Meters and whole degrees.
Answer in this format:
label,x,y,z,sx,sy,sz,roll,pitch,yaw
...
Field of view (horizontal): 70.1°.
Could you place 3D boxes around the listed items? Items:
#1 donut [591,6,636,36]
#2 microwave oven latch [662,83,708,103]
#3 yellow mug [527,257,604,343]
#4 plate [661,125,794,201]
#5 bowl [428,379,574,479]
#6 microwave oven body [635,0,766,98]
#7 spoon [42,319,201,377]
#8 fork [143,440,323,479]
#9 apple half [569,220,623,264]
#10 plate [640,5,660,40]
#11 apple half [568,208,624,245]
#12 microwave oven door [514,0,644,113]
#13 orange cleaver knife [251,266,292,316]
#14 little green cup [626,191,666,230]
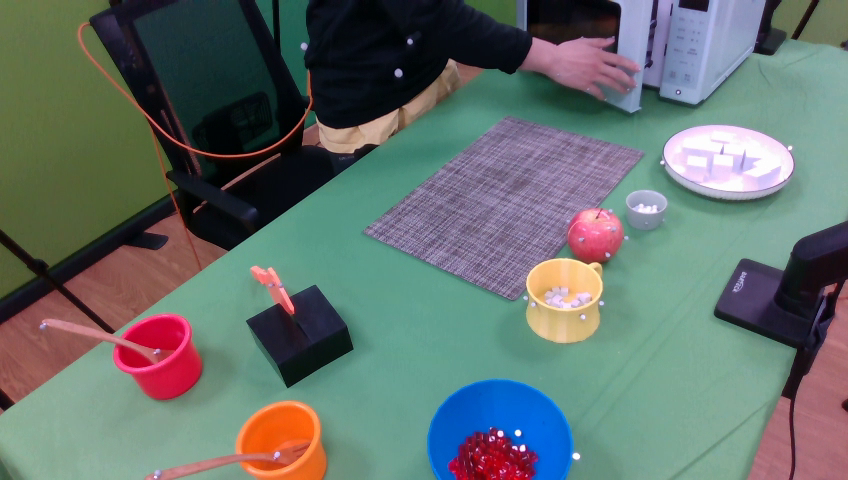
label,x,y,z,sx,sy,sz,roll,pitch,yaw
donut,0.427,-0.495,1.363,0.099,0.048,0.098,-6,38,5
microwave oven latch,0.518,-0.296,1.204,0.078,0.029,0.030,28,52,35
yellow mug,0.201,0.072,0.825,0.131,0.064,0.099,-32,47,-27
plate,0.513,-0.128,1.035,0.207,0.039,0.206,-4,40,4
bowl,0.082,0.233,0.644,0.151,0.077,0.150,-4,39,4
microwave oven body,0.472,-0.513,1.317,0.438,0.261,0.327,26,51,34
spoon,-0.385,0.135,0.779,0.195,0.021,0.041,28,36,-26
fork,-0.190,0.231,0.631,0.028,0.018,0.209,38,14,37
apple half,0.251,0.010,0.884,0.081,0.081,0.032,3,37,12
plate,0.427,-0.489,1.377,0.209,0.038,0.208,-4,40,4
apple half,0.259,-0.014,0.914,0.080,0.075,0.053,0,36,15
microwave oven door,0.311,-0.433,1.240,0.039,0.245,0.352,-28,44,-22
orange cleaver knife,-0.221,0.071,0.873,0.012,0.077,0.210,-25,11,-21
little green cup,0.352,-0.046,0.963,0.061,0.039,0.061,-4,40,4
